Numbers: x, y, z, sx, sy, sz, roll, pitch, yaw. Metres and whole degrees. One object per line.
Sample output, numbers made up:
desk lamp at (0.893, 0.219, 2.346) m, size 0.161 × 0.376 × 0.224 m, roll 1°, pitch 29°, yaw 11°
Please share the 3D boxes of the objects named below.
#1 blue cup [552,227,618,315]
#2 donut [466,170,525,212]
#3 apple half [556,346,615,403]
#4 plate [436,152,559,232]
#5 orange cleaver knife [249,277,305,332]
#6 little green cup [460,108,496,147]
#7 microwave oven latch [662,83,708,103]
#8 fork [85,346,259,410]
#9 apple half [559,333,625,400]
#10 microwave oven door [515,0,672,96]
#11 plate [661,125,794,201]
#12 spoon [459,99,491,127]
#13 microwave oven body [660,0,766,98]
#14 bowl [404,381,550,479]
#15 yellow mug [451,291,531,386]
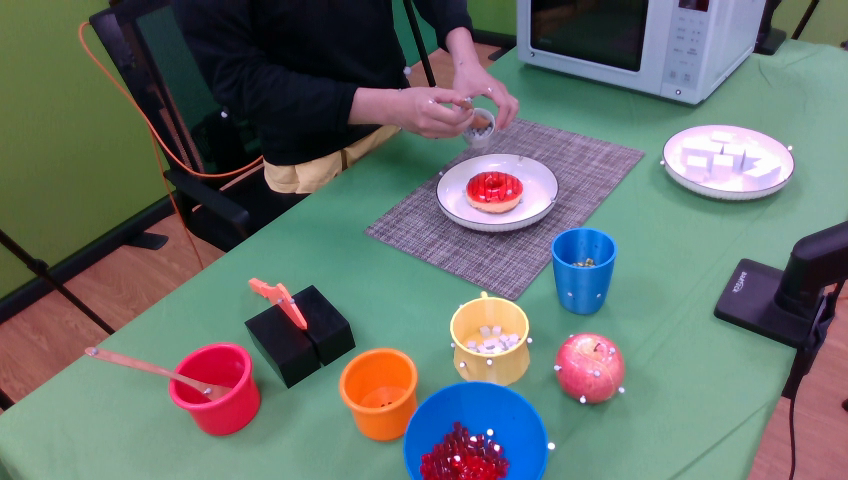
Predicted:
blue cup at (0.218, 0.047, 0.825) m, size 0.092 × 0.100 × 0.092 m, roll -6°, pitch 39°, yaw 5°
donut at (0.120, -0.083, 1.019) m, size 0.099 × 0.048 × 0.098 m, roll -4°, pitch 39°, yaw 4°
apple half at (0.181, 0.167, 0.709) m, size 0.080 × 0.081 × 0.033 m, roll 29°, pitch 51°, yaw 35°
plate at (0.125, -0.078, 1.030) m, size 0.209 × 0.038 × 0.208 m, roll -4°, pitch 41°, yaw 4°
orange cleaver knife at (-0.210, 0.088, 0.855) m, size 0.012 × 0.077 × 0.210 m, roll -28°, pitch 15°, yaw -25°
little green cup at (0.092, -0.191, 1.037) m, size 0.061 × 0.039 × 0.061 m, roll -1°, pitch 71°, yaw 4°
microwave oven latch at (0.517, -0.296, 1.204) m, size 0.078 × 0.029 × 0.030 m, roll 27°, pitch 52°, yaw 35°
fork at (-0.298, 0.166, 0.728) m, size 0.209 × 0.018 × 0.028 m, roll 28°, pitch 47°, yaw -24°
apple half at (0.209, 0.147, 0.730) m, size 0.080 × 0.075 × 0.053 m, roll 26°, pitch 48°, yaw 38°
microwave oven door at (0.344, -0.455, 1.259) m, size 0.353 × 0.245 × 0.039 m, roll 26°, pitch 51°, yaw 33°
plate at (0.513, -0.128, 1.035) m, size 0.207 × 0.039 × 0.206 m, roll -4°, pitch 40°, yaw 4°
spoon at (0.075, -0.201, 0.953) m, size 0.041 × 0.021 × 0.194 m, roll 2°, pitch -1°, yaw 13°
microwave oven body at (0.472, -0.513, 1.317) m, size 0.438 × 0.261 × 0.327 m, roll 26°, pitch 51°, yaw 34°
bowl at (0.058, 0.235, 0.645) m, size 0.151 × 0.077 × 0.150 m, roll -4°, pitch 39°, yaw 4°
yellow mug at (0.085, 0.120, 0.786) m, size 0.100 × 0.064 × 0.130 m, roll -7°, pitch 39°, yaw 1°
